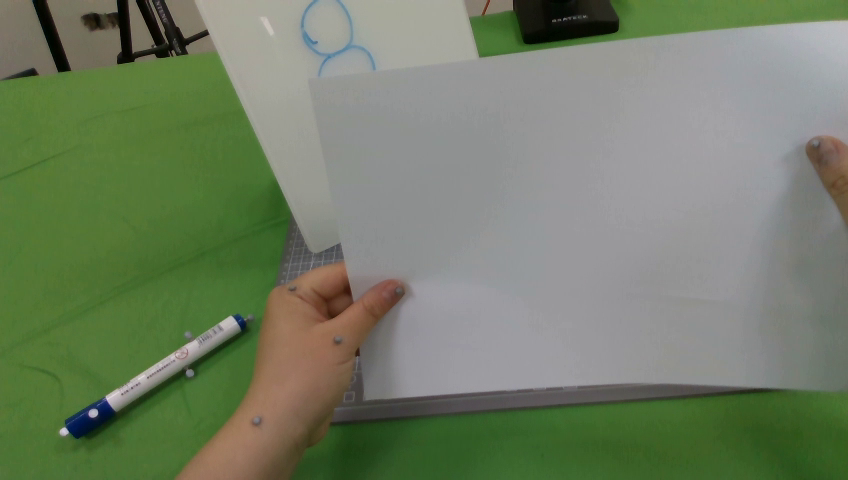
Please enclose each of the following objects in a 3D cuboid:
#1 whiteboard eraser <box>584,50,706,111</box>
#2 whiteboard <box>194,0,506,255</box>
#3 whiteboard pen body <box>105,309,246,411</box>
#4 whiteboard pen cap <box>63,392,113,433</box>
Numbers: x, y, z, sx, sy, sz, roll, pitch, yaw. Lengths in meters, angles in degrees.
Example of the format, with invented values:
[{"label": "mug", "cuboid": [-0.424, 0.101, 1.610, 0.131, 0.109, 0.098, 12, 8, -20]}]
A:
[{"label": "whiteboard eraser", "cuboid": [0.230, -0.165, 0.636, 0.113, 0.042, 0.055, -8, 47, 2]}, {"label": "whiteboard", "cuboid": [-0.082, -0.183, 0.570, 0.217, 0.308, 0.142, -27, 27, -14]}, {"label": "whiteboard pen body", "cuboid": [-0.203, 0.098, 0.474, 0.141, 0.017, 0.017, -35, 50, -23]}, {"label": "whiteboard pen cap", "cuboid": [-0.248, 0.127, 0.451, 0.033, 0.018, 0.018, -34, 49, -24]}]
